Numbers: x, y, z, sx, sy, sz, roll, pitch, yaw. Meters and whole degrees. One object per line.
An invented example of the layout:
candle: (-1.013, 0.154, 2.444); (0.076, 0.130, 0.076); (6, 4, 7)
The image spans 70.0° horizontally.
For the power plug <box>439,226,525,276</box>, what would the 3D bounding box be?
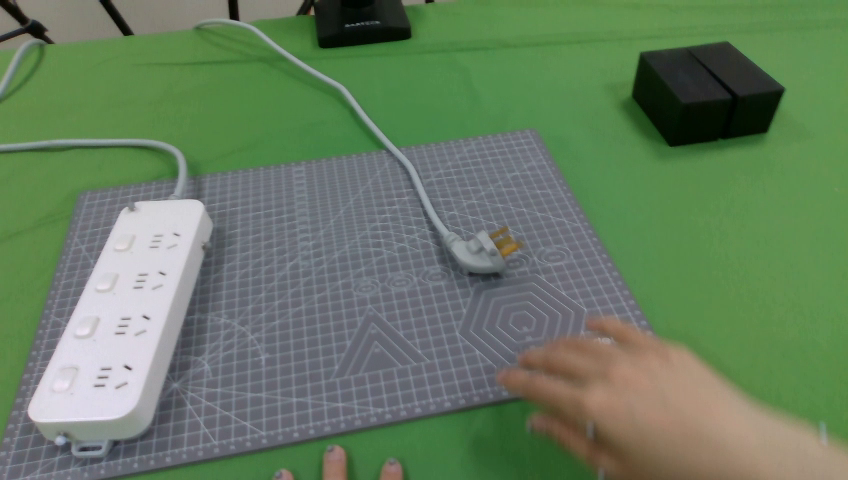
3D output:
power plug: (0.045, -0.002, 0.487); (0.052, 0.035, 0.072); (-29, 61, -3)

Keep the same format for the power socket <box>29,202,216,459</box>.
power socket: (-0.213, 0.050, 0.452); (0.072, 0.033, 0.224); (-1, 44, 0)
